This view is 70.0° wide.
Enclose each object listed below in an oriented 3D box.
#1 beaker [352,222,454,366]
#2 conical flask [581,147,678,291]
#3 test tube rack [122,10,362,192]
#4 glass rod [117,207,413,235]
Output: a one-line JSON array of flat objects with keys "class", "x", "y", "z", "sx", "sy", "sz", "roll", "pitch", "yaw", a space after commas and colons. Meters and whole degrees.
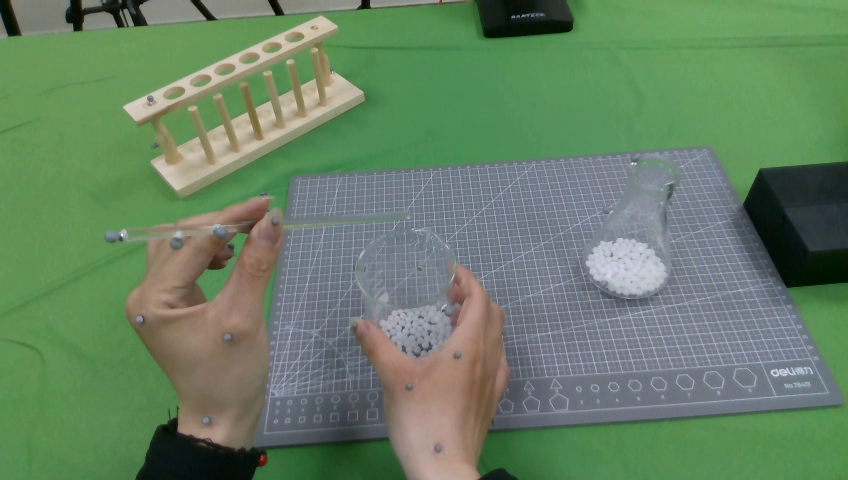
[{"class": "beaker", "x": -0.011, "y": 0.044, "z": 0.474, "sx": 0.073, "sy": 0.101, "sz": 0.083, "roll": 17, "pitch": 52, "yaw": 17}, {"class": "conical flask", "x": 0.175, "y": -0.019, "z": 0.500, "sx": 0.075, "sy": 0.123, "sz": 0.074, "roll": -2, "pitch": 50, "yaw": 3}, {"class": "test tube rack", "x": -0.188, "y": -0.158, "z": 0.668, "sx": 0.242, "sy": 0.086, "sz": 0.066, "roll": -35, "pitch": 56, "yaw": -23}, {"class": "glass rod", "x": -0.079, "y": -0.012, "z": 0.366, "sx": 0.201, "sy": 0.008, "sz": 0.008, "roll": -6, "pitch": 40, "yaw": -45}]
